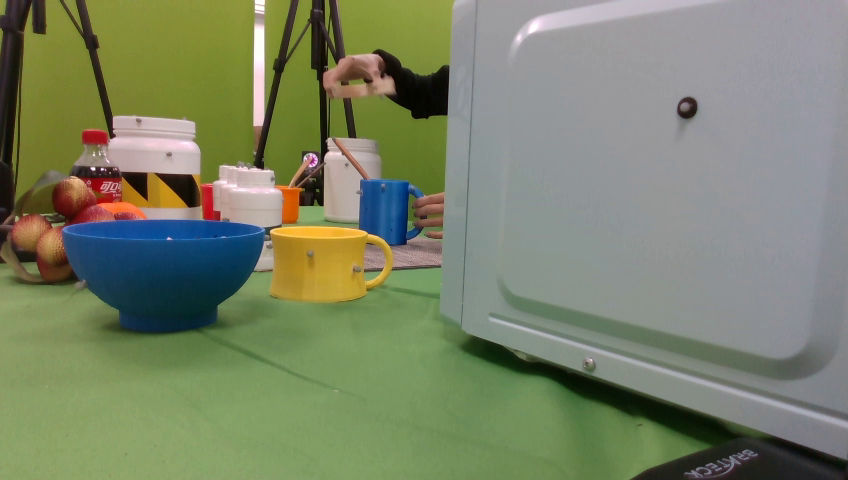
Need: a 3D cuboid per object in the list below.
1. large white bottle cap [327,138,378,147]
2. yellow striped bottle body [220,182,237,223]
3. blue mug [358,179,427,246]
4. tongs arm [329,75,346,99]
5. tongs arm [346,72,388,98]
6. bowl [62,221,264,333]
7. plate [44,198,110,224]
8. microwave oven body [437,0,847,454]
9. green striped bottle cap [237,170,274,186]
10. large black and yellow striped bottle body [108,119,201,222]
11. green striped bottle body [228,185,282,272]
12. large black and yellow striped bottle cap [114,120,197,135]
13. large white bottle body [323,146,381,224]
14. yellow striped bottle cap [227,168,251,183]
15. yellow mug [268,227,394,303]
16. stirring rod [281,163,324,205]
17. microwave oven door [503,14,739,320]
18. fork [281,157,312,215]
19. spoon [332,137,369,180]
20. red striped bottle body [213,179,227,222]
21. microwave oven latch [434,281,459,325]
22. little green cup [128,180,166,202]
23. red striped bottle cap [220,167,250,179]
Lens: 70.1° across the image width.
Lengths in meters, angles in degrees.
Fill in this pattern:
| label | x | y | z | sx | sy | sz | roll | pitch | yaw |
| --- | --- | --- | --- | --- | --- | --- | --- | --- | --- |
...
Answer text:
| label | x | y | z | sx | sy | sz | roll | pitch | yaw |
| --- | --- | --- | --- | --- | --- | --- | --- | --- | --- |
| large white bottle cap | -0.160 | -0.218 | 1.357 | 0.115 | 0.018 | 0.115 | 2 | 8 | 0 |
| yellow striped bottle body | -0.246 | -0.036 | 0.825 | 0.063 | 0.120 | 0.063 | 3 | 8 | 0 |
| blue mug | -0.052 | -0.046 | 1.007 | 0.116 | 0.106 | 0.082 | 4 | 7 | 8 |
| tongs arm | -0.169 | -0.294 | 1.175 | 0.028 | 0.028 | 0.387 | -11 | 12 | -4 |
| tongs arm | -0.118 | -0.300 | 1.183 | 0.051 | 0.026 | 0.383 | -8 | 12 | -9 |
| bowl | -0.209 | 0.029 | 0.496 | 0.151 | 0.077 | 0.151 | 2 | 7 | 0 |
| plate | -0.617 | -0.056 | 1.179 | 0.209 | 0.038 | 0.209 | 3 | 7 | 0 |
| microwave oven body | 0.279 | -0.040 | 0.464 | 0.444 | 0.260 | 0.324 | -3 | 9 | -41 |
| green striped bottle cap | -0.205 | -0.075 | 0.737 | 0.044 | 0.020 | 0.044 | 1 | 6 | 0 |
| large black and yellow striped bottle body | -0.412 | -0.088 | 0.930 | 0.131 | 0.184 | 0.130 | 3 | 7 | 0 |
| green striped bottle body | -0.208 | -0.023 | 0.745 | 0.063 | 0.119 | 0.063 | 3 | 7 | 0 |
| large black and yellow striped bottle cap | -0.407 | -0.171 | 0.920 | 0.115 | 0.019 | 0.115 | 2 | 9 | 0 |
| large white bottle body | -0.163 | -0.134 | 1.369 | 0.131 | 0.184 | 0.130 | 2 | 7 | 0 |
| yellow striped bottle cap | -0.243 | -0.087 | 0.818 | 0.044 | 0.018 | 0.044 | 3 | 6 | 0 |
| yellow mug | -0.094 | 0.023 | 0.629 | 0.131 | 0.064 | 0.099 | 0 | 7 | -22 |
| stirring rod | -0.278 | -0.105 | 1.294 | 0.176 | 0.006 | 0.014 | -47 | 24 | -18 |
| microwave oven door | 0.218 | -0.065 | 0.600 | 0.358 | 0.243 | 0.039 | -4 | 10 | -41 |
| fork | -0.289 | -0.116 | 1.321 | 0.028 | 0.019 | 0.207 | 6 | 51 | 19 |
| spoon | -0.095 | -0.093 | 1.011 | 0.021 | 0.193 | 0.041 | -31 | 3 | 16 |
| red striped bottle body | -0.284 | -0.048 | 0.909 | 0.063 | 0.119 | 0.063 | 3 | 9 | 0 |
| microwave oven latch | 0.044 | 0.045 | 0.470 | 0.079 | 0.029 | 0.030 | -2 | 8 | -39 |
| little green cup | -0.485 | -0.087 | 1.062 | 0.061 | 0.038 | 0.061 | -1 | 6 | 0 |
| red striped bottle cap | -0.281 | -0.100 | 0.901 | 0.044 | 0.017 | 0.044 | -1 | 5 | 0 |
